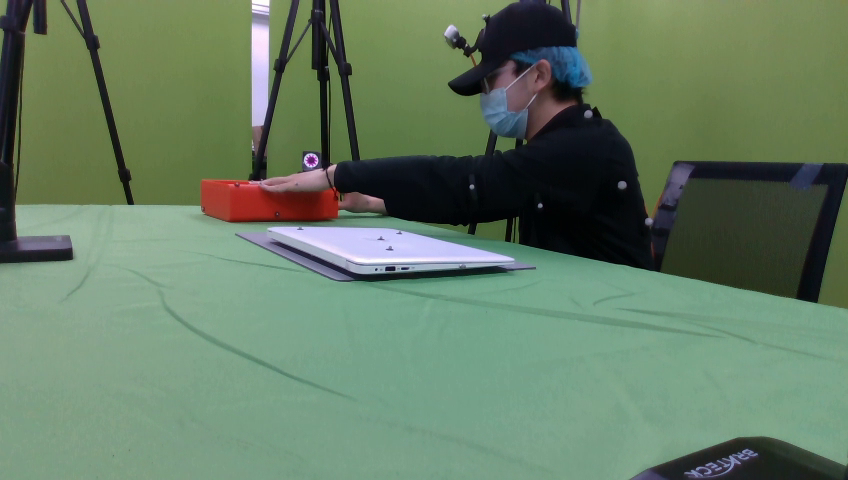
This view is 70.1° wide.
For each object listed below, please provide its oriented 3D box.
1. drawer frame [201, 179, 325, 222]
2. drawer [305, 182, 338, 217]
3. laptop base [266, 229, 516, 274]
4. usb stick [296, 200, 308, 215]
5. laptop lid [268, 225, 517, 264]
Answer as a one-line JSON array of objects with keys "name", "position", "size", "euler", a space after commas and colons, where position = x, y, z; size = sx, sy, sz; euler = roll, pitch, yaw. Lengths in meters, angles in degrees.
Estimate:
[{"name": "drawer frame", "position": [-0.361, -0.092, 1.356], "size": [0.215, 0.082, 0.200], "euler": [-4, 10, -37]}, {"name": "drawer", "position": [-0.332, -0.093, 1.381], "size": [0.213, 0.073, 0.193], "euler": [-4, 11, -36]}, {"name": "laptop base", "position": [-0.065, 0.014, 0.877], "size": [0.237, 0.023, 0.352], "euler": [2, 6, -32]}, {"name": "usb stick", "position": [-0.281, -0.075, 1.391], "size": [0.021, 0.027, 0.059], "euler": [18, 4, -11]}, {"name": "laptop lid", "position": [-0.063, 0.002, 0.877], "size": [0.243, 0.013, 0.355], "euler": [1, 7, -30]}]
